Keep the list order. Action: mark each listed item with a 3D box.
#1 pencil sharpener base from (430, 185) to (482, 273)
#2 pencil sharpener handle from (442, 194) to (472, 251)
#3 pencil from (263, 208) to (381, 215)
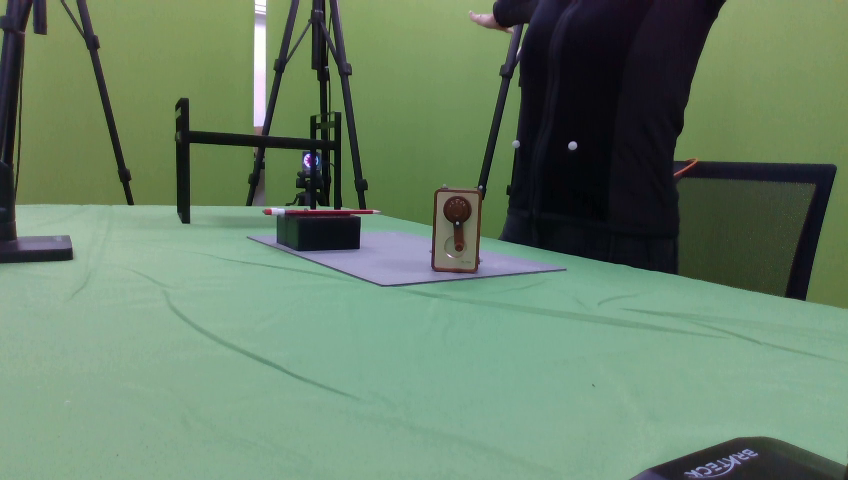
[{"bbox_3d":[0.042,-0.016,0.784,0.061,0.107,0.076,3,8,3],"label":"pencil sharpener base"},{"bbox_3d":[0.041,-0.021,0.731,0.036,0.067,0.030,-5,7,4],"label":"pencil sharpener handle"},{"bbox_3d":[-0.153,-0.045,0.941,0.195,0.012,0.012,-2,9,-32],"label":"pencil"}]
